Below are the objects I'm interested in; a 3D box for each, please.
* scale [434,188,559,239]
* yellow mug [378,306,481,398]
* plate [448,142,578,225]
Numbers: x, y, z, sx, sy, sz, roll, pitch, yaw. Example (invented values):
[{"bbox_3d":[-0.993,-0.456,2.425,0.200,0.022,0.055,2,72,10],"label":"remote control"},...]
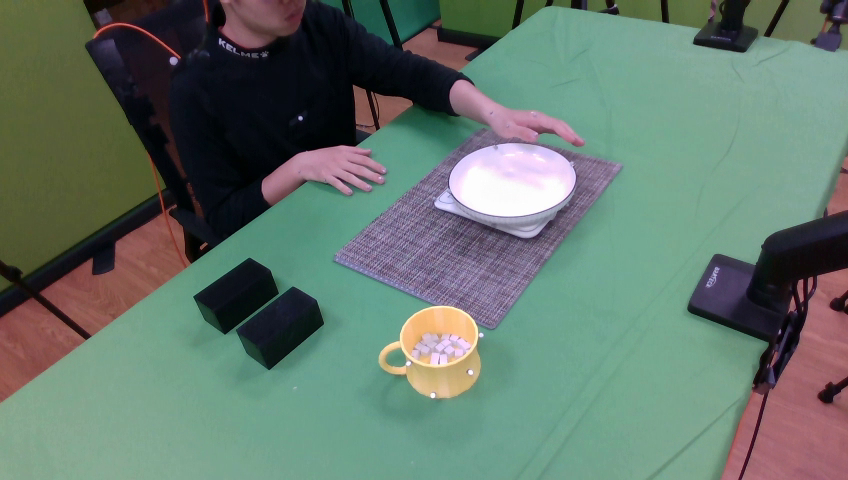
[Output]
[{"bbox_3d":[0.132,-0.075,1.024,0.199,0.032,0.149,22,48,30],"label":"scale"},{"bbox_3d":[0.006,0.144,0.766,0.131,0.064,0.099,-10,40,-2],"label":"yellow mug"},{"bbox_3d":[0.145,-0.089,0.989,0.209,0.038,0.208,-4,41,4],"label":"plate"}]
